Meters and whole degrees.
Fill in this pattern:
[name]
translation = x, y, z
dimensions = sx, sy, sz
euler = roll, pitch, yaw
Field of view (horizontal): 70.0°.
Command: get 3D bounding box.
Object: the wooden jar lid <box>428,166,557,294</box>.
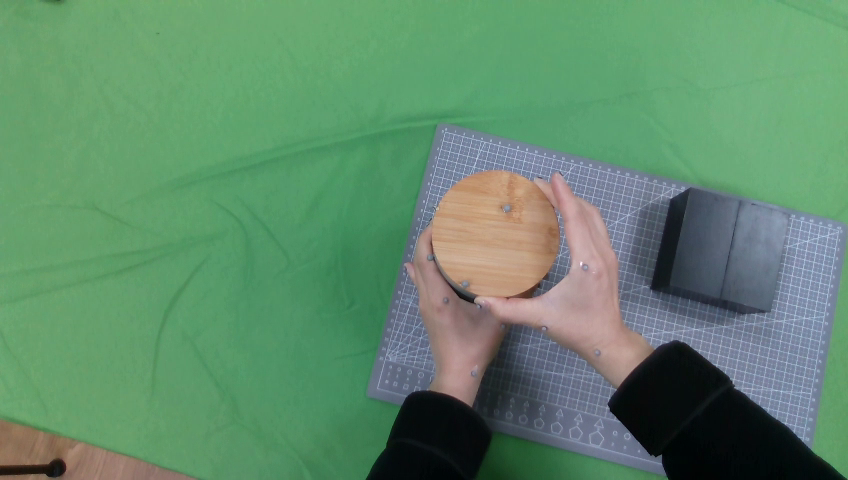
[wooden jar lid]
translation = 0.057, -0.008, 0.511
dimensions = 0.108, 0.021, 0.108
euler = 0, 85, -1

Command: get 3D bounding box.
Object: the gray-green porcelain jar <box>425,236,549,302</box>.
[gray-green porcelain jar]
translation = 0.056, 0.006, 0.575
dimensions = 0.106, 0.126, 0.105
euler = 1, 83, -4
